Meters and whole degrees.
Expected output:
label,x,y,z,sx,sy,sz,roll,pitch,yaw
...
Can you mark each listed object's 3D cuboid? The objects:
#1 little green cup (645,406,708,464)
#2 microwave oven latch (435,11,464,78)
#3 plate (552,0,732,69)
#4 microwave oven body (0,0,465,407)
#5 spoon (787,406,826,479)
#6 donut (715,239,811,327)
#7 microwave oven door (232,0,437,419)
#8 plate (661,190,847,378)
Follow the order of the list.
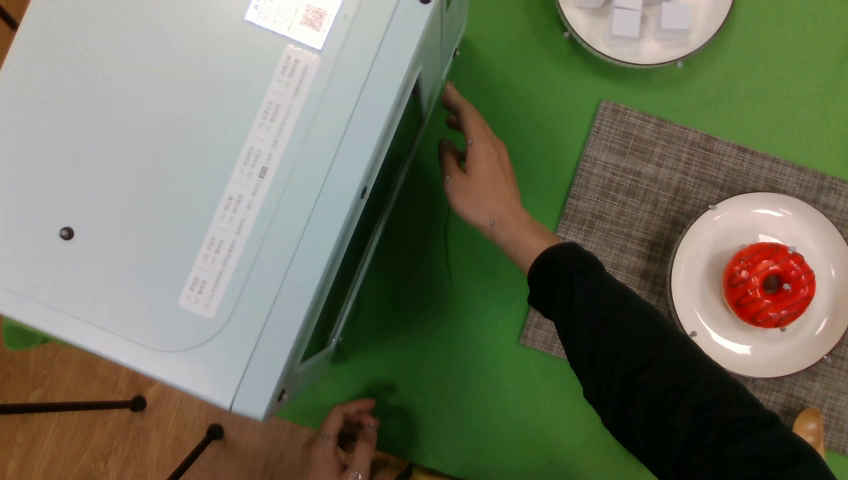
label,x,y,z,sx,sy,sz,roll,pitch,yaw
little green cup,0.281,0.217,0.682,0.061,0.038,0.061,0,86,1
microwave oven latch,0.019,-0.224,0.683,0.030,0.029,0.079,25,89,2
plate,0.247,-0.297,0.700,0.208,0.039,0.207,0,88,1
microwave oven body,-0.187,-0.120,0.586,0.326,0.260,0.441,22,89,1
spoon,0.448,0.279,0.683,0.042,0.021,0.193,-18,89,-16
donut,0.374,0.047,0.672,0.099,0.048,0.099,0,89,3
microwave oven door,-0.069,-0.026,0.576,0.039,0.244,0.355,22,88,2
plate,0.369,0.048,0.683,0.209,0.038,0.209,0,88,1
